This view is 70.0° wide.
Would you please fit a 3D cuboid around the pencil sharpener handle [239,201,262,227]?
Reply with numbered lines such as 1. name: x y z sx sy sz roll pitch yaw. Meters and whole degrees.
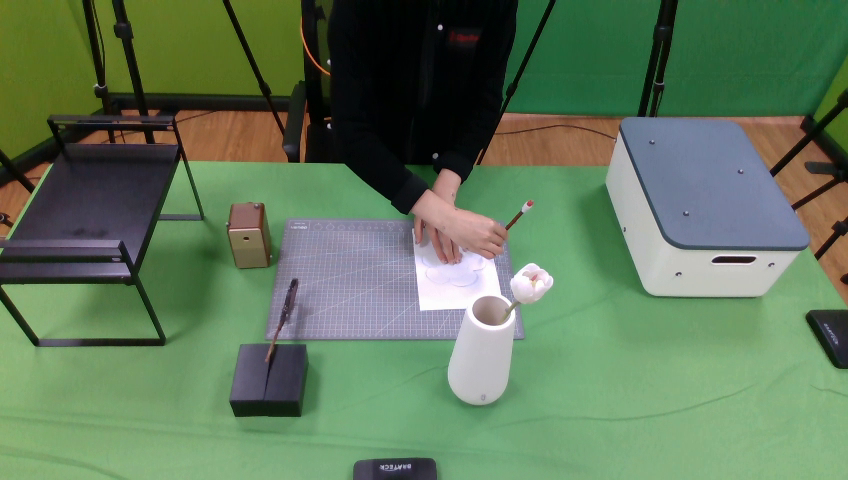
1. pencil sharpener handle: -0.325 -0.056 1.150 0.036 0.068 0.030 -13 46 4

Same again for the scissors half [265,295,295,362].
1. scissors half: -0.239 0.143 1.005 0.013 0.040 0.174 17 28 -6

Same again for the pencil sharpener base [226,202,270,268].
1. pencil sharpener base: -0.323 -0.010 1.123 0.061 0.107 0.076 -3 46 -7

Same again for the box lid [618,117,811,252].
1. box lid: 0.534 -0.117 1.148 0.263 0.015 0.369 0 47 -3

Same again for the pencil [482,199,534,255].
1. pencil: 0.150 -0.019 1.110 0.012 0.194 0.012 12 56 -18

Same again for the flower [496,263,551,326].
1. flower: 0.102 0.120 0.853 0.044 0.363 0.038 -2 64 -10

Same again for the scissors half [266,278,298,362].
1. scissors half: -0.234 0.127 0.993 0.013 0.040 0.174 12 46 -4

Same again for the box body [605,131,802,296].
1. box body: 0.530 -0.067 1.204 0.254 0.161 0.361 0 46 -4

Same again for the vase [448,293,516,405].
1. vase: 0.091 0.169 0.921 0.098 0.201 0.097 3 47 -3
